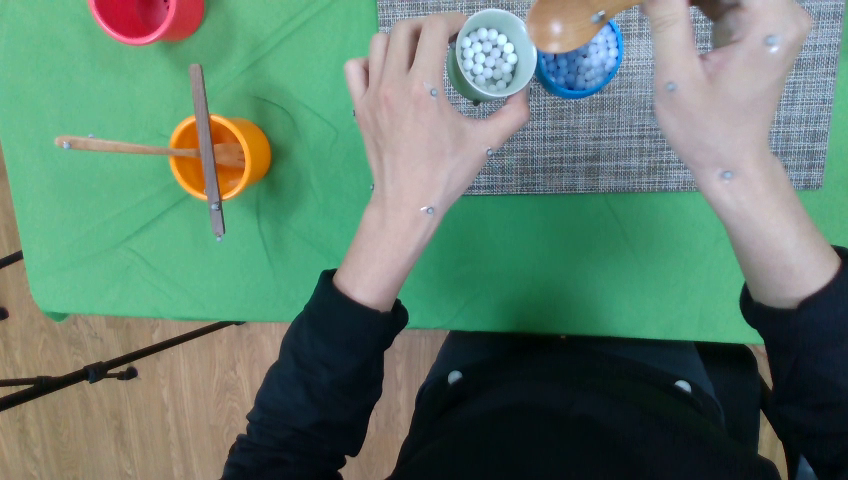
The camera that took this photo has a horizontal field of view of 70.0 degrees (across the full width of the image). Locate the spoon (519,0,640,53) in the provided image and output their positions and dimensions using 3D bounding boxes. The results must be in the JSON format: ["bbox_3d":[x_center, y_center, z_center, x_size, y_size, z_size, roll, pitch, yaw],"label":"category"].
[{"bbox_3d":[0.119,-0.137,0.330,0.021,0.192,0.042,-40,112,-20],"label":"spoon"}]

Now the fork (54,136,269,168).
[{"bbox_3d":[-0.266,-0.093,0.636,0.208,0.018,0.028,-1,117,-36],"label":"fork"}]

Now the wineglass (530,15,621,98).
[{"bbox_3d":[0.129,-0.164,0.538,0.073,0.172,0.074,2,105,9],"label":"wineglass"}]

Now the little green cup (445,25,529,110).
[{"bbox_3d":[0.046,-0.131,0.455,0.061,0.038,0.062,-1,114,-1],"label":"little green cup"}]

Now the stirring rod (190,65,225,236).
[{"bbox_3d":[-0.224,-0.090,0.628,0.014,0.006,0.177,0,104,10],"label":"stirring rod"}]
